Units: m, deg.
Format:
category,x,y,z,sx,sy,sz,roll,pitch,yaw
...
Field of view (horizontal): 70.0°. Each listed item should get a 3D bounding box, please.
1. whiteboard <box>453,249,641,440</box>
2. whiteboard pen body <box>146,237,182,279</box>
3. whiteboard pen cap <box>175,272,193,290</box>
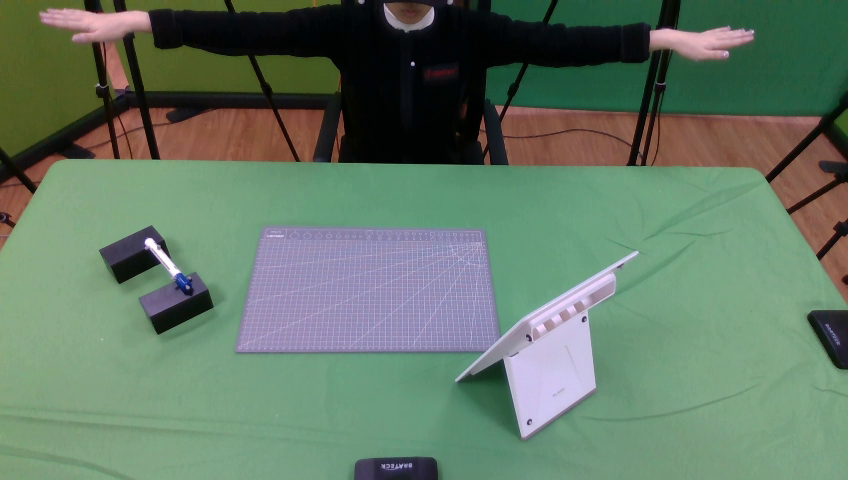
category,x,y,z,sx,sy,sz,roll,pitch,yaw
whiteboard,0.206,0.174,0.890,0.217,0.306,0.143,-25,72,-25
whiteboard pen body,-0.449,0.038,1.061,0.017,0.017,0.140,-33,57,-30
whiteboard pen cap,-0.409,0.069,1.032,0.018,0.018,0.033,-32,56,-29
